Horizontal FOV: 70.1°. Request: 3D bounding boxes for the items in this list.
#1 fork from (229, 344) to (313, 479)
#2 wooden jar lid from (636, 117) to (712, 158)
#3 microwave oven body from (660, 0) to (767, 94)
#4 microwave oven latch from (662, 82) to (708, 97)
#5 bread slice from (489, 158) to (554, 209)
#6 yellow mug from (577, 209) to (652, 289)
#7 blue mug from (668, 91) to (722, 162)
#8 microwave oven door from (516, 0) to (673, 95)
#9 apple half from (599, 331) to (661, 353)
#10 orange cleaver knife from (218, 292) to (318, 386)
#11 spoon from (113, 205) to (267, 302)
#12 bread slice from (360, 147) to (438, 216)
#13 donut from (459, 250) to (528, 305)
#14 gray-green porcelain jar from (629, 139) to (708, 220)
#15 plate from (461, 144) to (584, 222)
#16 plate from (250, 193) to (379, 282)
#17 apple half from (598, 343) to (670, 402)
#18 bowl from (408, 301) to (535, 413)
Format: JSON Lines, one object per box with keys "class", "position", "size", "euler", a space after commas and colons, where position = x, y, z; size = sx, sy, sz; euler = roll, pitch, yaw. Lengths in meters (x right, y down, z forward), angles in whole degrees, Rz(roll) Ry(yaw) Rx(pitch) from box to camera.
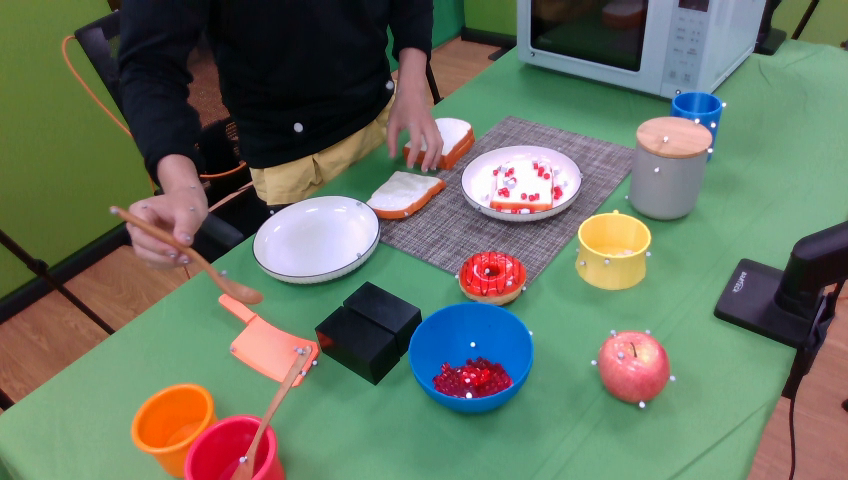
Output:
{"class": "fork", "position": [-0.173, 0.205, 0.662], "size": [0.028, 0.019, 0.207], "euler": [29, 94, 36]}
{"class": "wooden jar lid", "position": [0.377, -0.151, 0.917], "size": [0.108, 0.021, 0.108], "euler": [-2, 42, 2]}
{"class": "microwave oven body", "position": [0.474, -0.517, 1.313], "size": [0.438, 0.261, 0.327], "euler": [26, 51, 34]}
{"class": "microwave oven latch", "position": [0.518, -0.298, 1.203], "size": [0.078, 0.029, 0.030], "euler": [28, 53, 35]}
{"class": "bread slice", "position": [0.172, -0.100, 1.046], "size": [0.104, 0.019, 0.131], "euler": [3, 41, 12]}
{"class": "yellow mug", "position": [0.279, 0.005, 0.893], "size": [0.099, 0.064, 0.130], "euler": [5, 41, 15]}
{"class": "blue mug", "position": [0.474, -0.207, 1.079], "size": [0.082, 0.106, 0.116], "euler": [4, 42, 13]}
{"class": "microwave oven door", "position": [0.344, -0.458, 1.256], "size": [0.353, 0.245, 0.039], "euler": [26, 52, 33]}
{"class": "apple half", "position": [0.249, 0.134, 0.738], "size": [0.081, 0.081, 0.032], "euler": [-1, 46, 7]}
{"class": "orange cleaver knife", "position": [-0.235, 0.136, 0.850], "size": [0.209, 0.012, 0.077], "euler": [25, 57, 30]}
{"class": "spoon", "position": [-0.254, 0.016, 0.672], "size": [0.021, 0.195, 0.041], "euler": [-44, 33, 2]}
{"class": "bread slice", "position": [-0.052, -0.102, 1.048], "size": [0.106, 0.018, 0.134], "euler": [18, 64, 23]}
{"class": "donut", "position": [0.100, 0.053, 0.873], "size": [0.099, 0.048, 0.098], "euler": [-4, 40, 4]}
{"class": "gray-green porcelain jar", "position": [0.383, -0.104, 0.958], "size": [0.106, 0.127, 0.105], "euler": [-4, 41, 4]}
{"class": "plate", "position": [0.167, -0.095, 1.040], "size": [0.207, 0.039, 0.206], "euler": [-4, 40, 4]}
{"class": "plate", "position": [-0.174, -0.001, 0.984], "size": [0.209, 0.038, 0.208], "euler": [-3, 40, 3]}
{"class": "apple half", "position": [0.247, 0.161, 0.710], "size": [0.081, 0.075, 0.053], "euler": [2, 47, 5]}
{"class": "bowl", "position": [0.060, 0.156, 0.739], "size": [0.151, 0.077, 0.150], "euler": [-4, 40, 4]}
